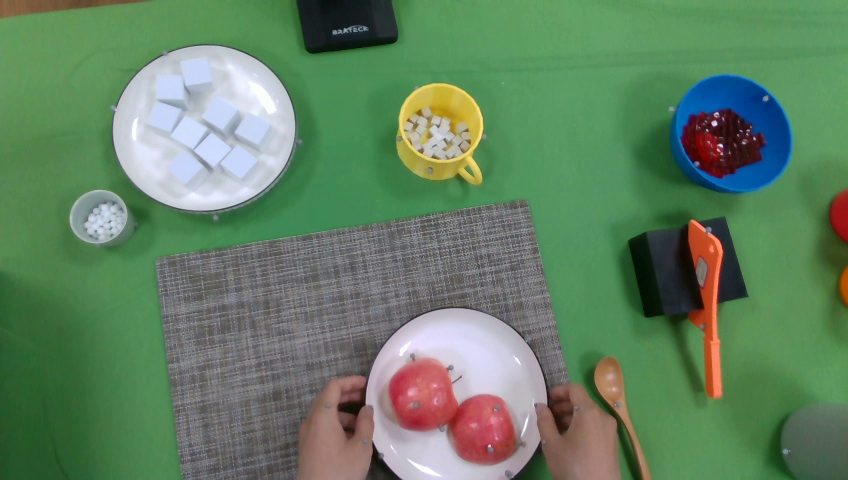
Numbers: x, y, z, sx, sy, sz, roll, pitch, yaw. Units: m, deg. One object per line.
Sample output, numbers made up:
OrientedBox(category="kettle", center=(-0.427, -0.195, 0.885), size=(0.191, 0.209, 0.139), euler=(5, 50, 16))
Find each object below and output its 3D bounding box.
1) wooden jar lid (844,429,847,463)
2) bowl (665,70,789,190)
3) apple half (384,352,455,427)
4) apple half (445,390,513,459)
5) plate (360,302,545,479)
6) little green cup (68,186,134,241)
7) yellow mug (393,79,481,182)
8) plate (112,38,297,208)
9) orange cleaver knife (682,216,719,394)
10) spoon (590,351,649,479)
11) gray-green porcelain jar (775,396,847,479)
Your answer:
OrientedBox(category="wooden jar lid", center=(0.484, 0.219, 0.627), size=(0.108, 0.021, 0.108), euler=(1, 82, -7))
OrientedBox(category="bowl", center=(0.367, -0.128, 0.767), size=(0.151, 0.077, 0.151), euler=(1, 80, -6))
OrientedBox(category="apple half", center=(-0.005, 0.167, 0.671), size=(0.075, 0.053, 0.080), euler=(-13, 81, -6))
OrientedBox(category="apple half", center=(0.063, 0.209, 0.680), size=(0.081, 0.033, 0.081), euler=(1, 76, -4))
OrientedBox(category="plate", center=(0.031, 0.175, 0.689), size=(0.209, 0.038, 0.208), euler=(1, 80, -6))
OrientedBox(category="little green cup", center=(-0.362, -0.027, 0.685), size=(0.062, 0.038, 0.061), euler=(1, 80, -7))
OrientedBox(category="yellow mug", center=(0.024, -0.123, 0.734), size=(0.100, 0.064, 0.130), euler=(-39, 86, -12))
OrientedBox(category="plate", center=(-0.255, -0.136, 0.719), size=(0.208, 0.039, 0.206), euler=(1, 79, -6))
OrientedBox(category="orange cleaver knife", center=(0.328, 0.078, 0.722), size=(0.012, 0.077, 0.212), euler=(-8, 104, -4))
OrientedBox(category="spoon", center=(0.238, 0.225, 0.715), size=(0.042, 0.021, 0.193), euler=(-14, 80, -30))
OrientedBox(category="gray-green porcelain jar", center=(0.479, 0.233, 0.688), size=(0.106, 0.127, 0.105), euler=(1, 79, -6))
